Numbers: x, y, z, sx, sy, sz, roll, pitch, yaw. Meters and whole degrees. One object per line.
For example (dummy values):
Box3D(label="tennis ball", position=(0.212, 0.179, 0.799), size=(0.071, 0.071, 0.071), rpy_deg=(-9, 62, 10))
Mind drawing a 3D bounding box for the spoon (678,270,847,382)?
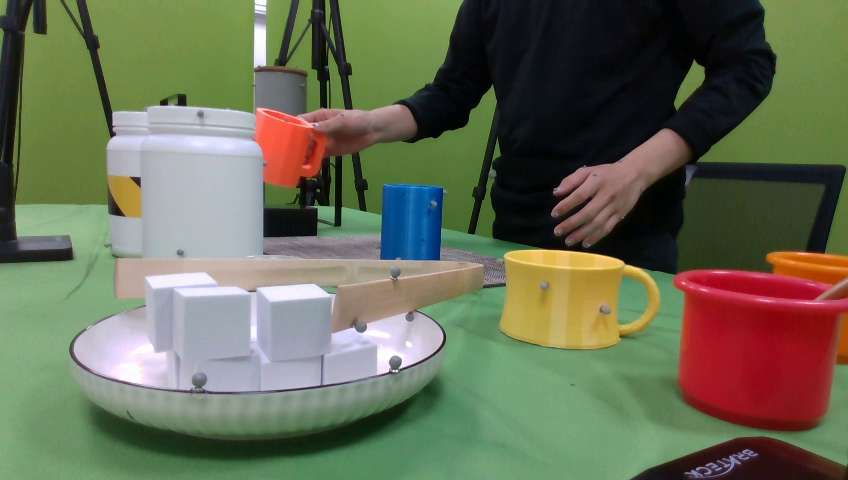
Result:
Box3D(label="spoon", position=(0.229, 0.031, 0.338), size=(0.193, 0.021, 0.042), rpy_deg=(-44, -17, 27))

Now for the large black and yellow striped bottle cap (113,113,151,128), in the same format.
Box3D(label="large black and yellow striped bottle cap", position=(-0.348, -0.154, 0.800), size=(0.115, 0.019, 0.115), rpy_deg=(2, 6, 0))

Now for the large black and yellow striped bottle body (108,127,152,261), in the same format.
Box3D(label="large black and yellow striped bottle body", position=(-0.350, -0.071, 0.812), size=(0.131, 0.184, 0.130), rpy_deg=(2, 8, 0))

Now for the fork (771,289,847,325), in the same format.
Box3D(label="fork", position=(0.335, 0.018, 0.443), size=(0.028, 0.018, 0.207), rpy_deg=(-1, -36, -20))

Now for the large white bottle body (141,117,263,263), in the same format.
Box3D(label="large white bottle body", position=(-0.254, -0.054, 0.697), size=(0.131, 0.184, 0.130), rpy_deg=(2, 7, 0))

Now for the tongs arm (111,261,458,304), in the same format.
Box3D(label="tongs arm", position=(-0.080, 0.032, 0.527), size=(0.028, 0.027, 0.389), rpy_deg=(-3, -3, 33))

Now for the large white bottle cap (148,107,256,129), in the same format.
Box3D(label="large white bottle cap", position=(-0.250, -0.137, 0.686), size=(0.115, 0.018, 0.115), rpy_deg=(3, 8, 0))

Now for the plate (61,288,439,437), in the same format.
Box3D(label="plate", position=(-0.095, 0.069, 0.362), size=(0.208, 0.039, 0.207), rpy_deg=(3, 7, 0))

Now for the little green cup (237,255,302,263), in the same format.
Box3D(label="little green cup", position=(-0.150, 0.038, 0.590), size=(0.061, 0.038, 0.061), rpy_deg=(3, 6, 0))

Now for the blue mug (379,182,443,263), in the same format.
Box3D(label="blue mug", position=(-0.020, -0.026, 0.833), size=(0.082, 0.106, 0.116), rpy_deg=(1, 7, -7))

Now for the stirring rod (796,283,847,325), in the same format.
Box3D(label="stirring rod", position=(0.347, 0.019, 0.460), size=(0.014, 0.176, 0.006), rpy_deg=(-17, 59, -26))

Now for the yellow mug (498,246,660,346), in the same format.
Box3D(label="yellow mug", position=(0.130, 0.045, 0.508), size=(0.131, 0.064, 0.100), rpy_deg=(4, 7, 6))

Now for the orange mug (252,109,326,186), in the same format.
Box3D(label="orange mug", position=(-0.213, -0.143, 0.943), size=(0.127, 0.100, 0.083), rpy_deg=(-3, 25, -45))

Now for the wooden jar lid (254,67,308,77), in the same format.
Box3D(label="wooden jar lid", position=(-0.296, -0.339, 1.251), size=(0.108, 0.020, 0.108), rpy_deg=(2, 7, 0))

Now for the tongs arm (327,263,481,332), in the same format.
Box3D(label="tongs arm", position=(-0.003, 0.036, 0.493), size=(0.050, 0.026, 0.386), rpy_deg=(1, 0, 19))

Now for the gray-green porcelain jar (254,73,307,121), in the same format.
Box3D(label="gray-green porcelain jar", position=(-0.298, -0.277, 1.259), size=(0.106, 0.126, 0.106), rpy_deg=(3, 7, 0))
